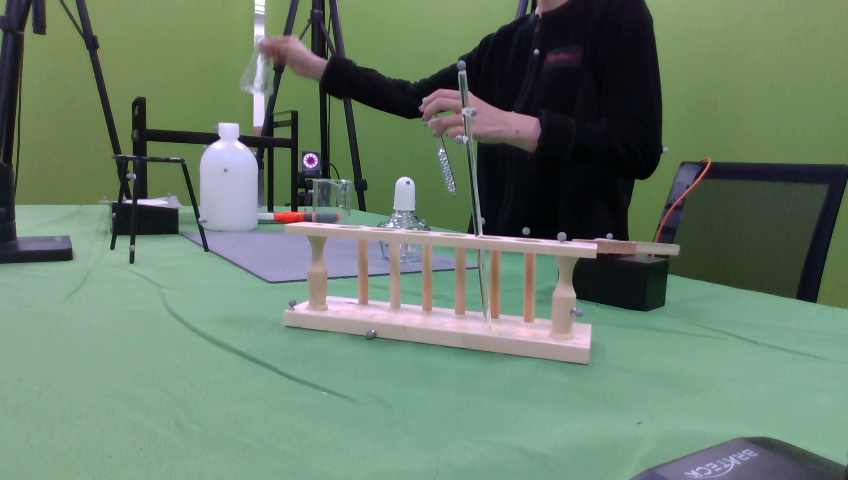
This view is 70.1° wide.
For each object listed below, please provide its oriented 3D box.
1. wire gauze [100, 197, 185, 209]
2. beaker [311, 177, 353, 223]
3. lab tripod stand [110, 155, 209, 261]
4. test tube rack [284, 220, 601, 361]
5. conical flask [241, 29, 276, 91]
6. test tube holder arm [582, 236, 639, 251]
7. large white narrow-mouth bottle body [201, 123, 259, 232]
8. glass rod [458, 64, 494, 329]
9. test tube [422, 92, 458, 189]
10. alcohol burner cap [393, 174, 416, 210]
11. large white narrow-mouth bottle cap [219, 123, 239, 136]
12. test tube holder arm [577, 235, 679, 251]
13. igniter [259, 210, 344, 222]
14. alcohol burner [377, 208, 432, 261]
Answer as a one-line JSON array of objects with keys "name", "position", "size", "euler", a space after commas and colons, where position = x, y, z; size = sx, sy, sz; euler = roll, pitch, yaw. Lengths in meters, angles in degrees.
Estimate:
[{"name": "wire gauze", "position": [-0.469, -0.062, 1.008], "size": [0.126, 0.011, 0.121], "euler": [-2, 8, -25]}, {"name": "beaker", "position": [-0.167, -0.064, 1.106], "size": [0.074, 0.100, 0.083], "euler": [-2, 9, -26]}, {"name": "lab tripod stand", "position": [-0.361, -0.046, 0.806], "size": [0.148, 0.131, 0.148], "euler": [2, 5, 0]}, {"name": "test tube rack", "position": [0.013, 0.032, 0.482], "size": [0.242, 0.085, 0.067], "euler": [4, 7, 16]}, {"name": "conical flask", "position": [-0.349, -0.389, 1.309], "size": [0.075, 0.122, 0.075], "euler": [13, 12, -2]}, {"name": "test tube holder arm", "position": [0.194, 0.004, 0.629], "size": [0.088, 0.015, 0.010], "euler": [2, 13, -38]}, {"name": "large white narrow-mouth bottle body", "position": [-0.358, -0.116, 1.116], "size": [0.102, 0.194, 0.102], "euler": [2, 8, 0]}, {"name": "glass rod", "position": [0.039, -0.029, 0.449], "size": [0.008, 0.199, 0.008], "euler": [-7, 9, 1]}, {"name": "test tube", "position": [0.025, -0.151, 0.919], "size": [0.017, 0.150, 0.017], "euler": [-16, 4, 1]}, {"name": "alcohol burner cap", "position": [-0.025, -0.067, 0.833], "size": [0.034, 0.048, 0.034], "euler": [4, 12, -1]}, {"name": "large white narrow-mouth bottle cap", "position": [-0.356, -0.201, 1.104], "size": [0.038, 0.024, 0.037], "euler": [2, 8, 0]}, {"name": "test tube holder arm", "position": [0.227, 0.004, 0.661], "size": [0.179, 0.015, 0.013], "euler": [1, 13, -39]}, {"name": "igniter", "position": [-0.303, -0.049, 1.258], "size": [0.278, 0.025, 0.057], "euler": [-2, -2, -28]}, {"name": "alcohol burner", "position": [-0.027, -0.031, 0.838], "size": [0.078, 0.119, 0.078], "euler": [0, 6, 0]}]
